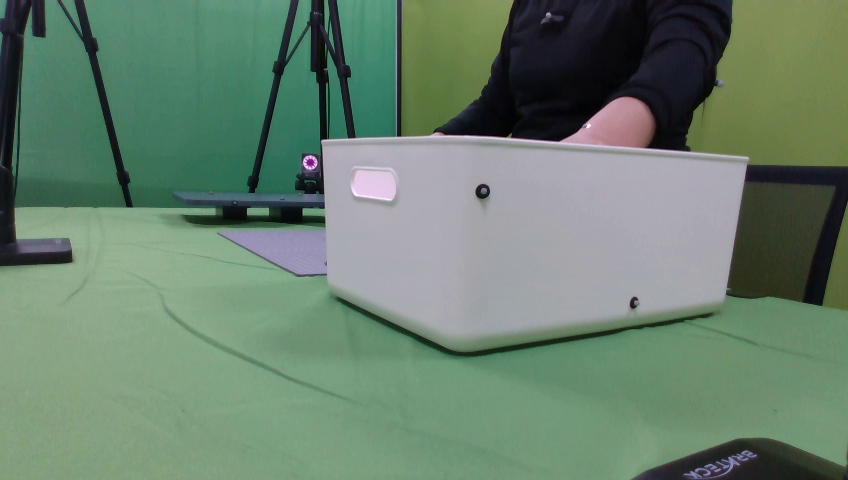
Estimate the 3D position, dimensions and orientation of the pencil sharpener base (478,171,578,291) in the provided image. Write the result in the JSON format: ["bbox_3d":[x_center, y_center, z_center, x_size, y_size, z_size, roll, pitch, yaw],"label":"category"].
[{"bbox_3d":[0.102,-0.011,0.588,0.077,0.107,0.061,-5,14,-37],"label":"pencil sharpener base"}]

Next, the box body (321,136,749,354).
[{"bbox_3d":[0.105,-0.012,0.604,0.366,0.160,0.253,-2,8,-33],"label":"box body"}]

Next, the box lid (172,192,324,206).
[{"bbox_3d":[-0.355,-0.091,1.350,0.373,0.015,0.262,-1,8,-29],"label":"box lid"}]

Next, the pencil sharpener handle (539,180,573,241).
[{"bbox_3d":[0.140,-0.029,0.621,0.031,0.067,0.036,-5,35,-37],"label":"pencil sharpener handle"}]
